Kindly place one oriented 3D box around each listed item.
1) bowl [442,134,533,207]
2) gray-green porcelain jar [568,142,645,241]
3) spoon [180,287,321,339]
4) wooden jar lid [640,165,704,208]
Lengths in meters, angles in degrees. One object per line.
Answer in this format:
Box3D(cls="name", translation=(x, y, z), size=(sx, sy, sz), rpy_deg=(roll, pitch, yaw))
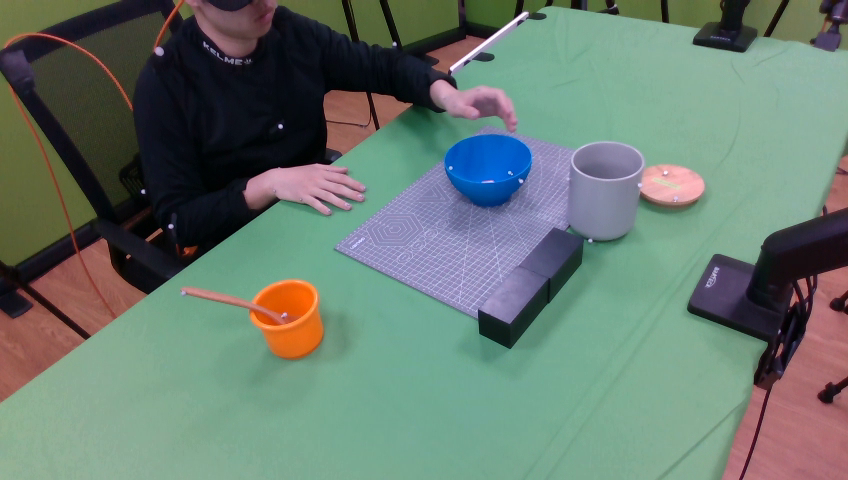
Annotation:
Box3D(cls="bowl", translation=(0.110, -0.109, 1.034), size=(0.151, 0.077, 0.150), rpy_deg=(-4, 40, 4))
Box3D(cls="gray-green porcelain jar", translation=(0.276, -0.070, 0.930), size=(0.106, 0.127, 0.105), rpy_deg=(-4, 41, 4))
Box3D(cls="spoon", translation=(-0.223, 0.093, 0.796), size=(0.021, 0.195, 0.041), rpy_deg=(-47, 35, 23))
Box3D(cls="wooden jar lid", translation=(0.410, -0.088, 1.015), size=(0.108, 0.021, 0.108), rpy_deg=(-5, 41, 5))
